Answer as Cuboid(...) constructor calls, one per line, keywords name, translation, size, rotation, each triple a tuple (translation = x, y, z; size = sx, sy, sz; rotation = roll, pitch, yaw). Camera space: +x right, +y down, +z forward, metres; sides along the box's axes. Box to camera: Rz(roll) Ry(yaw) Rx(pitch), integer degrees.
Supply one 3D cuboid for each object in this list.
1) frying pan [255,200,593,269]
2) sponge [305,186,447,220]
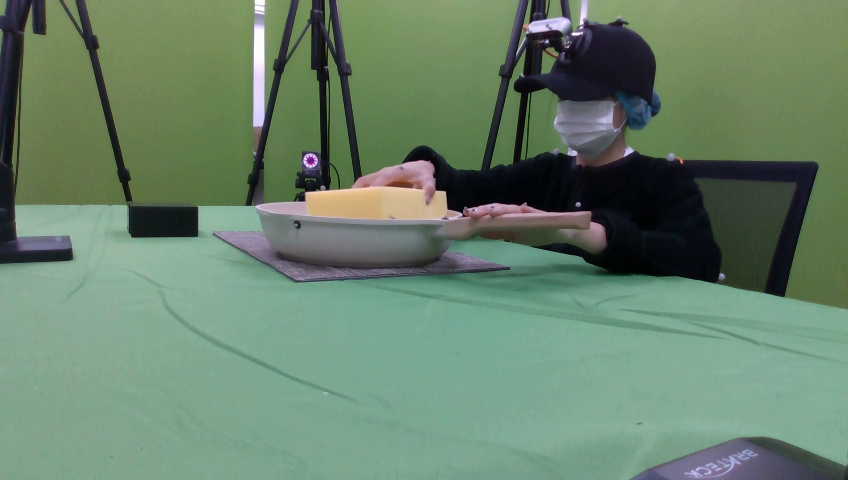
Cuboid(name="frying pan", translation=(-0.011, -0.017, 0.802), size=(0.485, 0.102, 0.308), rotation=(-2, 4, 39))
Cuboid(name="sponge", translation=(-0.060, -0.038, 0.856), size=(0.118, 0.061, 0.207), rotation=(-3, 1, 24))
